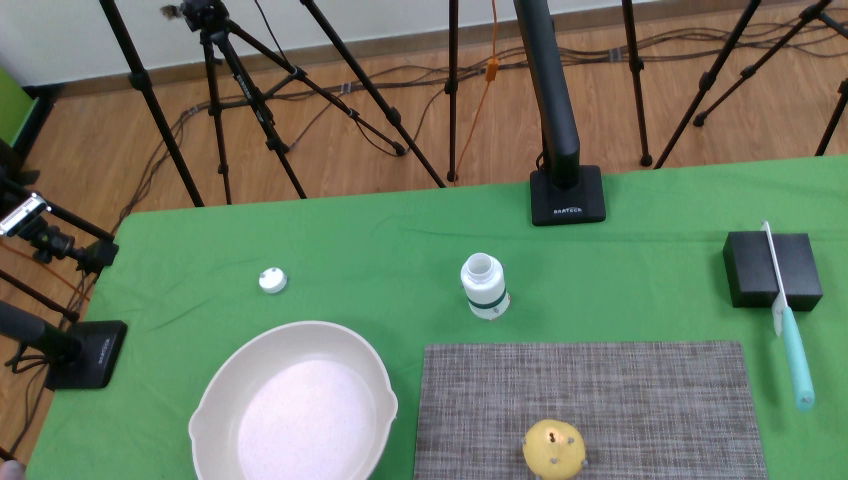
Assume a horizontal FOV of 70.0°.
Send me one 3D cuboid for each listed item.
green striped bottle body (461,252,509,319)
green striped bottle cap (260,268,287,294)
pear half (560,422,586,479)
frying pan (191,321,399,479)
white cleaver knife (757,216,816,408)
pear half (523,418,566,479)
[{"bbox_3d":[0.091,0.066,0.908,0.063,0.120,0.062,-6,56,10],"label":"green striped bottle body"},{"bbox_3d":[-0.261,0.072,1.051,0.044,0.020,0.044,-7,56,10],"label":"green striped bottle cap"},{"bbox_3d":[0.190,0.266,0.767,0.031,0.089,0.070,0,53,16],"label":"pear half"},{"bbox_3d":[-0.181,0.339,0.805,0.306,0.104,0.483,-7,48,10],"label":"frying pan"},{"bbox_3d":[0.490,0.090,0.827,0.021,0.066,0.284,-4,54,19],"label":"white cleaver knife"},{"bbox_3d":[0.153,0.259,0.769,0.056,0.111,0.075,1,53,15],"label":"pear half"}]
